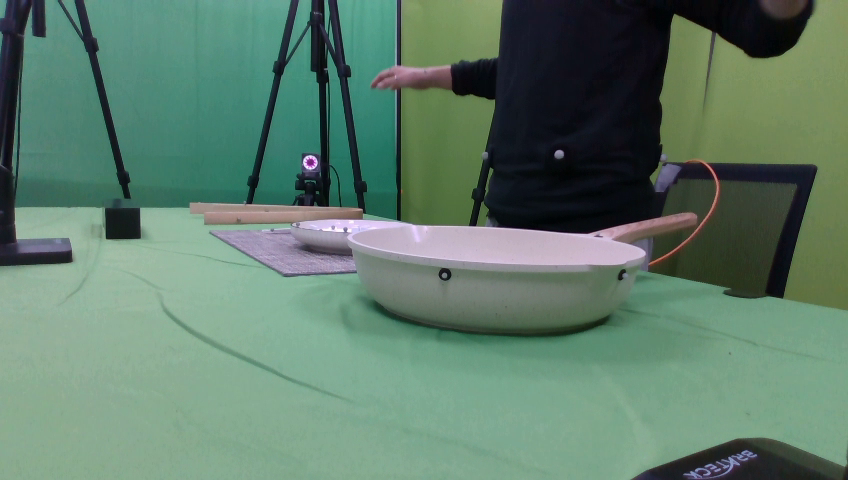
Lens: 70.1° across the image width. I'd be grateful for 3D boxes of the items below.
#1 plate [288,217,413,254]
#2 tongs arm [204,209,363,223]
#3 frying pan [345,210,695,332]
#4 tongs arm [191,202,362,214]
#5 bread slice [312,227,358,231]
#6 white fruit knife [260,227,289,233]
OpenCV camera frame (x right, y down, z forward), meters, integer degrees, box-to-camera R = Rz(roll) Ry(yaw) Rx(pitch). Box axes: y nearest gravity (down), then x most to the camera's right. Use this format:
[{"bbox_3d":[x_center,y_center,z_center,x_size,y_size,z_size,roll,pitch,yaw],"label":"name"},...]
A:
[{"bbox_3d":[-0.109,-0.007,0.956,0.208,0.039,0.207,2,7,0],"label":"plate"},{"bbox_3d":[-0.292,-0.054,1.336,0.390,0.028,0.028,-3,6,-40],"label":"tongs arm"},{"bbox_3d":[0.153,0.009,0.668,0.490,0.102,0.305,-12,15,-32],"label":"frying pan"},{"bbox_3d":[-0.333,-0.068,1.403,0.387,0.026,0.050,0,8,-27],"label":"tongs arm"},{"bbox_3d":[-0.115,-0.006,0.950,0.134,0.018,0.107,3,6,-7],"label":"bread slice"},{"bbox_3d":[-0.205,-0.022,1.136,0.208,0.016,0.027,-4,-19,-33],"label":"white fruit knife"}]
